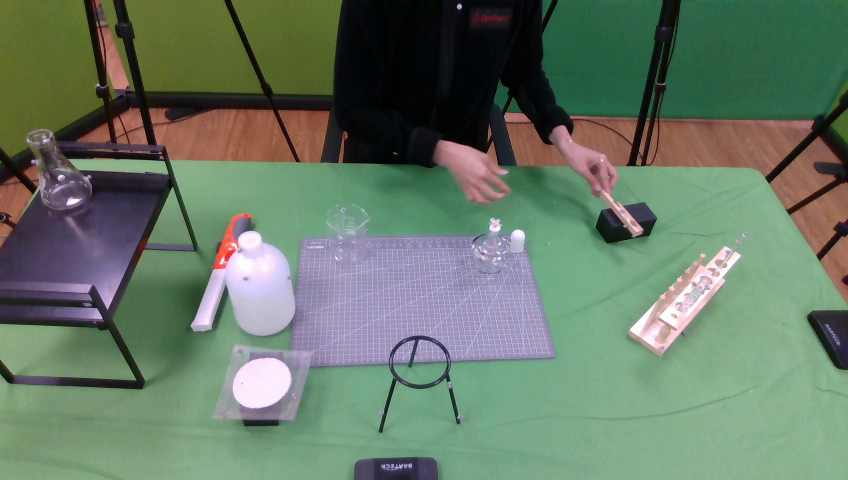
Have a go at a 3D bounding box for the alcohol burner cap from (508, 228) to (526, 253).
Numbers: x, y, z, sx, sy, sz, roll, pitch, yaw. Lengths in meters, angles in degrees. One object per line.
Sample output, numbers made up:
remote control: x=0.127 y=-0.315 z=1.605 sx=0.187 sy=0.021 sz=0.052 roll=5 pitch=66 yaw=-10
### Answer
alcohol burner cap: x=0.185 y=-0.002 z=1.192 sx=0.034 sy=0.048 sz=0.033 roll=2 pitch=44 yaw=-2

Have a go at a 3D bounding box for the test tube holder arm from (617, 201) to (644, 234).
test tube holder arm: x=0.406 y=-0.045 z=1.203 sx=0.010 sy=0.015 sz=0.087 roll=-10 pitch=47 yaw=-23

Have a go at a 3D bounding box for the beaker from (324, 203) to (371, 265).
beaker: x=-0.142 y=-0.009 z=1.137 sx=0.084 sy=0.101 sz=0.073 roll=-2 pitch=47 yaw=-7

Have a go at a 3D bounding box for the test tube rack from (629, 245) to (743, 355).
test tube rack: x=0.474 y=0.095 z=1.091 sx=0.242 sy=0.085 sz=0.066 roll=-34 pitch=56 yaw=-31

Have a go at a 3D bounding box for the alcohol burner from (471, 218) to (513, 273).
alcohol burner: x=0.128 y=0.005 z=1.132 sx=0.078 sy=0.120 sz=0.077 roll=0 pitch=47 yaw=0

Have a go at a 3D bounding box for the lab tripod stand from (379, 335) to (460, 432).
lab tripod stand: x=-0.011 y=0.214 z=0.911 sx=0.148 sy=0.132 sz=0.147 roll=1 pitch=45 yaw=0

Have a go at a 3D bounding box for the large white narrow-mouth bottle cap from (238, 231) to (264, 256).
large white narrow-mouth bottle cap: x=-0.266 y=0.006 z=0.932 sx=0.038 sy=0.024 sz=0.037 roll=2 pitch=46 yaw=-2

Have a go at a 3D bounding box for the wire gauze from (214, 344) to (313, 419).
wire gauze: x=-0.241 y=0.213 z=0.915 sx=0.121 sy=0.011 sz=0.124 roll=5 pitch=46 yaw=1

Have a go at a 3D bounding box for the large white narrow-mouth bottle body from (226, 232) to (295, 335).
large white narrow-mouth bottle body: x=-0.270 y=0.065 z=0.995 sx=0.102 sy=0.195 sz=0.101 roll=2 pitch=46 yaw=-2

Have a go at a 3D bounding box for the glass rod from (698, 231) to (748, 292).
glass rod: x=0.514 y=0.044 z=1.051 sx=0.008 sy=0.200 sz=0.008 roll=1 pitch=55 yaw=-1

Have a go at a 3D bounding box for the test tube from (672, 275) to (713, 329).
test tube: x=0.438 y=0.106 z=1.007 sx=0.017 sy=0.151 sz=0.017 roll=4 pitch=51 yaw=-4

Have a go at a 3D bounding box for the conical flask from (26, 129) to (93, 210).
conical flask: x=-0.575 y=-0.113 z=0.946 sx=0.075 sy=0.122 sz=0.075 roll=2 pitch=46 yaw=-2

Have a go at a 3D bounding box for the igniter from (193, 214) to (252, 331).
igniter: x=-0.368 y=0.050 z=1.119 sx=0.057 sy=0.025 sz=0.275 roll=-3 pitch=46 yaw=8

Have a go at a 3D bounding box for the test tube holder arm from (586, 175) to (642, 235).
test tube holder arm: x=0.383 y=-0.074 z=1.228 sx=0.013 sy=0.015 sz=0.177 roll=-11 pitch=47 yaw=-24
